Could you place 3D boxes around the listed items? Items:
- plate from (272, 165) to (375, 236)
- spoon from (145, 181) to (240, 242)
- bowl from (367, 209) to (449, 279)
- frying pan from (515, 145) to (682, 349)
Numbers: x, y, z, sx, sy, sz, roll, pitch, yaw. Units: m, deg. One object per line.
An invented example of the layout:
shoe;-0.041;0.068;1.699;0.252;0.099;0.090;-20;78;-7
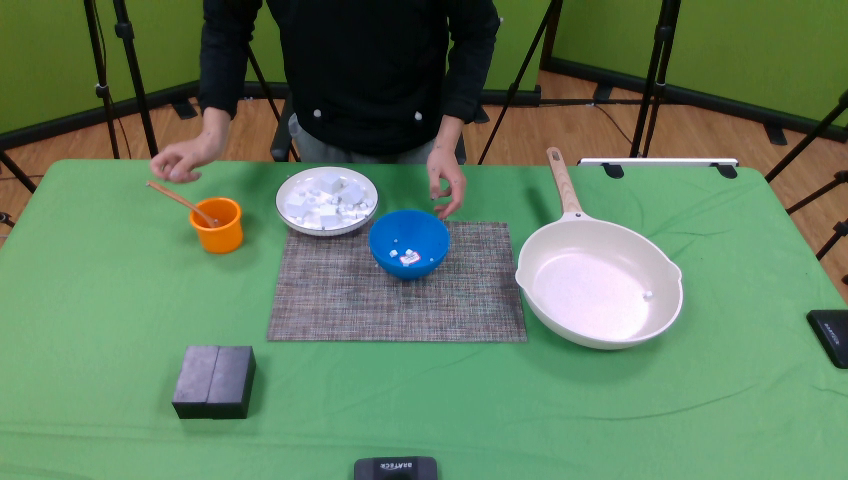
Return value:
plate;-0.204;-0.076;1.240;0.208;0.039;0.206;3;44;-2
spoon;-0.428;-0.055;1.130;0.195;0.021;0.041;40;34;-29
bowl;-0.031;0.020;1.132;0.151;0.077;0.150;2;46;-2
frying pan;0.303;-0.004;1.168;0.307;0.103;0.484;-2;55;-7
